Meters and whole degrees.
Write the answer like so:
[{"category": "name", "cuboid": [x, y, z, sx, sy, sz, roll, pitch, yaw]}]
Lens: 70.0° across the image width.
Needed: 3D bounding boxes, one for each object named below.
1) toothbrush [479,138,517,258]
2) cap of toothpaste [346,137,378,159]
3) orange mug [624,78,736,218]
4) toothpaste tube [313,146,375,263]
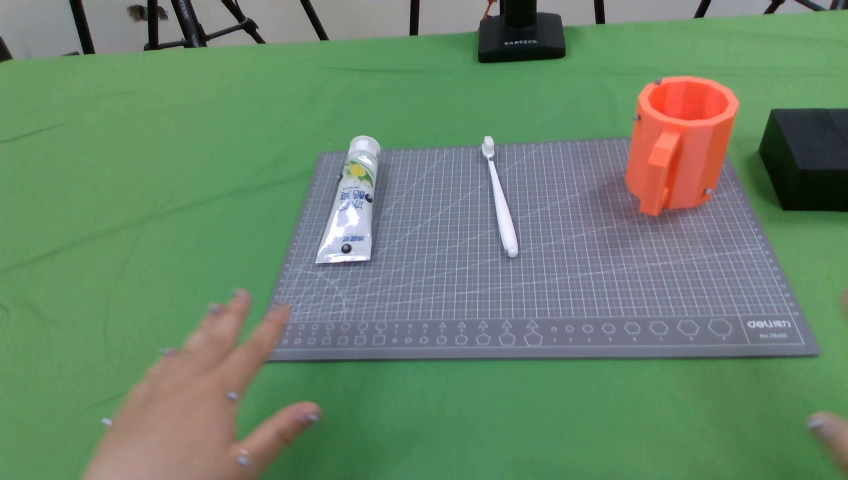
[{"category": "toothbrush", "cuboid": [0.075, -0.049, 0.620, 0.014, 0.017, 0.180, 5, 44, -10]}, {"category": "cap of toothpaste", "cuboid": [-0.070, -0.100, 0.679, 0.037, 0.038, 0.011, -2, 48, 6]}, {"category": "orange mug", "cuboid": [0.233, -0.082, 0.572, 0.083, 0.102, 0.126, 19, 45, 27]}, {"category": "toothpaste tube", "cuboid": [-0.076, -0.041, 0.627, 0.055, 0.035, 0.163, -6, 47, 11]}]
